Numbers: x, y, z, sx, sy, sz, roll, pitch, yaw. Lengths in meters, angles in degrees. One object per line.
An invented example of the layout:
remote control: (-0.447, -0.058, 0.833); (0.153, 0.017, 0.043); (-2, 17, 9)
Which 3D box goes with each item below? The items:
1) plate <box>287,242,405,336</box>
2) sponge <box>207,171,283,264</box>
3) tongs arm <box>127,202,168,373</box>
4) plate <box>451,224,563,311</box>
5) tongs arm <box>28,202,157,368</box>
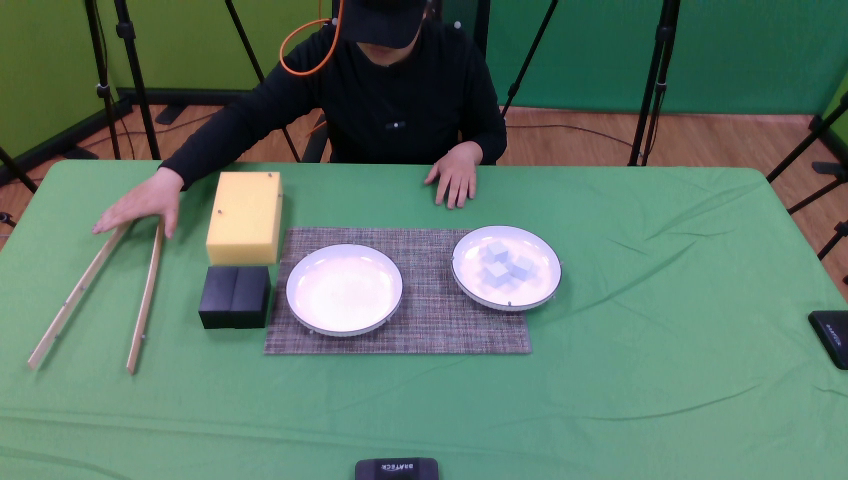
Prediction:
plate: (-0.138, 0.090, 1.085); (0.208, 0.039, 0.206); (2, 46, -2)
sponge: (-0.346, -0.048, 1.191); (0.118, 0.061, 0.205); (-2, 46, -6)
tongs arm: (-0.497, 0.070, 1.090); (0.028, 0.028, 0.385); (-6, 47, -6)
plate: (0.154, 0.053, 1.140); (0.209, 0.038, 0.208); (2, 46, -2)
tongs arm: (-0.579, 0.064, 1.084); (0.051, 0.026, 0.382); (6, 45, 1)
